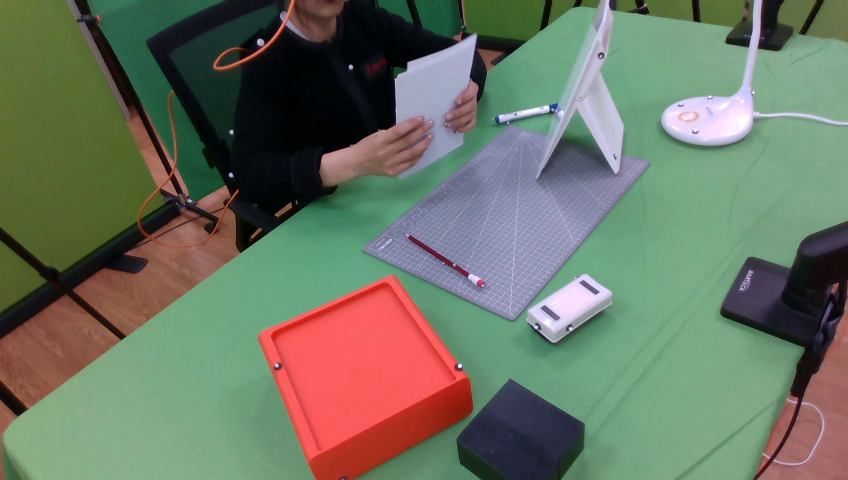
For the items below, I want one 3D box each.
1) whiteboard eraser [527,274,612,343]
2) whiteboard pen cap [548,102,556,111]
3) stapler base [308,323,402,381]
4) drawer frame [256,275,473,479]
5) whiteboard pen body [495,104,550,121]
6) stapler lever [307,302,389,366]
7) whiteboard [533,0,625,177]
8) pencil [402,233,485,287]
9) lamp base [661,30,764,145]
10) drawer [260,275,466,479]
[{"bbox_3d":[0.198,0.094,0.820,0.113,0.042,0.055,-29,43,-22],"label":"whiteboard eraser"},{"bbox_3d":[0.273,-0.279,1.259,0.033,0.018,0.018,-10,40,-5],"label":"whiteboard pen cap"},{"bbox_3d":[-0.094,0.142,0.812,0.131,0.024,0.041,-25,29,-18],"label":"stapler base"},{"bbox_3d":[-0.078,0.164,0.756,0.202,0.083,0.211,-23,43,-17],"label":"drawer frame"},{"bbox_3d":[0.216,-0.267,1.255,0.141,0.017,0.017,-12,40,-5],"label":"whiteboard pen body"},{"bbox_3d":[-0.101,0.121,0.799,0.118,0.040,0.026,-26,29,-17],"label":"stapler lever"},{"bbox_3d":[0.321,-0.258,1.049,0.144,0.306,0.217,20,45,4],"label":"whiteboard"},{"bbox_3d":[0.026,0.027,0.949,0.012,0.012,0.192,-34,44,-26],"label":"pencil"},{"bbox_3d":[0.535,-0.287,1.096,0.179,0.181,0.159,-10,40,-4],"label":"lamp base"},{"bbox_3d":[-0.080,0.162,0.760,0.195,0.073,0.210,-22,42,-16],"label":"drawer"}]
